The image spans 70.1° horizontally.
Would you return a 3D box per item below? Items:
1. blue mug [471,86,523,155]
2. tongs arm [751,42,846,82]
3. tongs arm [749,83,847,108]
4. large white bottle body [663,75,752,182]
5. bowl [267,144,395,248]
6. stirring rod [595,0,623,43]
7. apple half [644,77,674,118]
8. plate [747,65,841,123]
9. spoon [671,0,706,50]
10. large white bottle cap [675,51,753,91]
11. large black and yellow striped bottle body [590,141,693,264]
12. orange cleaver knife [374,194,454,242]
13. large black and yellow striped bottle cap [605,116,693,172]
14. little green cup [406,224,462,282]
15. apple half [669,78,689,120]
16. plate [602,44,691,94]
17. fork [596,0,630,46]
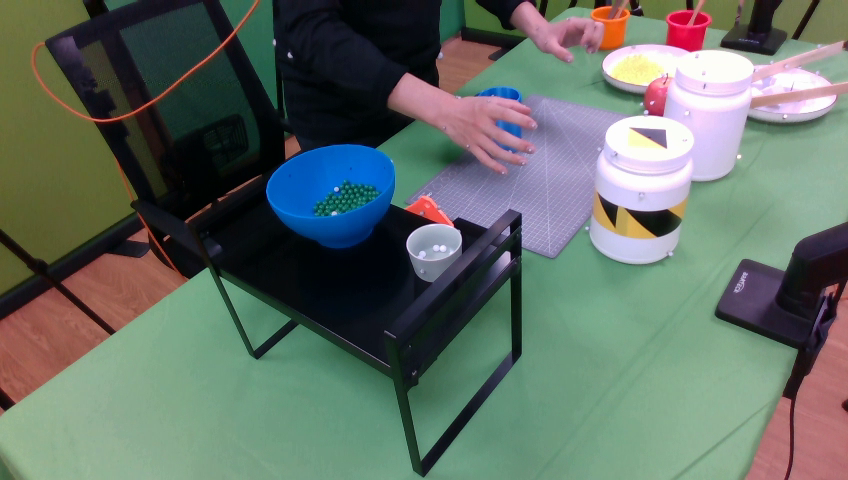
[{"bbox_3d":[0.135,-0.235,1.163,0.082,0.106,0.115,-36,48,-29],"label":"blue mug"},{"bbox_3d":[0.708,-0.331,1.193,0.386,0.026,0.050,-18,45,-16],"label":"tongs arm"},{"bbox_3d":[0.734,-0.280,1.133,0.388,0.028,0.028,-9,47,-5],"label":"tongs arm"},{"bbox_3d":[0.472,-0.207,1.022,0.130,0.185,0.130,-4,41,4],"label":"large white bottle body"},{"bbox_3d":[-0.104,-0.043,0.726,0.151,0.077,0.150,-4,40,4],"label":"bowl"},{"bbox_3d":[0.460,-0.556,1.460,0.014,0.006,0.176,30,93,23],"label":"stirring rod"},{"bbox_3d":[0.463,-0.279,1.194,0.053,0.075,0.081,8,46,24],"label":"apple half"},{"bbox_3d":[0.694,-0.282,1.189,0.207,0.039,0.206,-4,40,4],"label":"plate"},{"bbox_3d":[0.629,-0.520,1.394,0.041,0.022,0.193,30,96,34],"label":"spoon"},{"bbox_3d":[0.463,-0.271,0.967,0.115,0.018,0.114,-4,40,3],"label":"large white bottle cap"},{"bbox_3d":[0.317,-0.071,0.889,0.131,0.185,0.130,-4,41,4],"label":"large black and yellow striped bottle body"},{"bbox_3d":[-0.032,-0.027,0.965,0.210,0.077,0.012,-9,29,51],"label":"orange cleaver knife"},{"bbox_3d":[0.309,-0.134,0.833,0.115,0.019,0.114,-5,40,5],"label":"large black and yellow striped bottle cap"},{"bbox_3d":[0.013,0.015,0.668,0.061,0.039,0.061,-4,40,4],"label":"little green cup"},{"bbox_3d":[0.498,-0.273,1.180,0.032,0.082,0.081,7,42,25],"label":"apple half"},{"bbox_3d":[0.495,-0.367,1.317,0.209,0.038,0.208,-4,40,4],"label":"plate"},{"bbox_3d":[0.481,-0.556,1.453,0.028,0.019,0.207,40,103,40],"label":"fork"}]
